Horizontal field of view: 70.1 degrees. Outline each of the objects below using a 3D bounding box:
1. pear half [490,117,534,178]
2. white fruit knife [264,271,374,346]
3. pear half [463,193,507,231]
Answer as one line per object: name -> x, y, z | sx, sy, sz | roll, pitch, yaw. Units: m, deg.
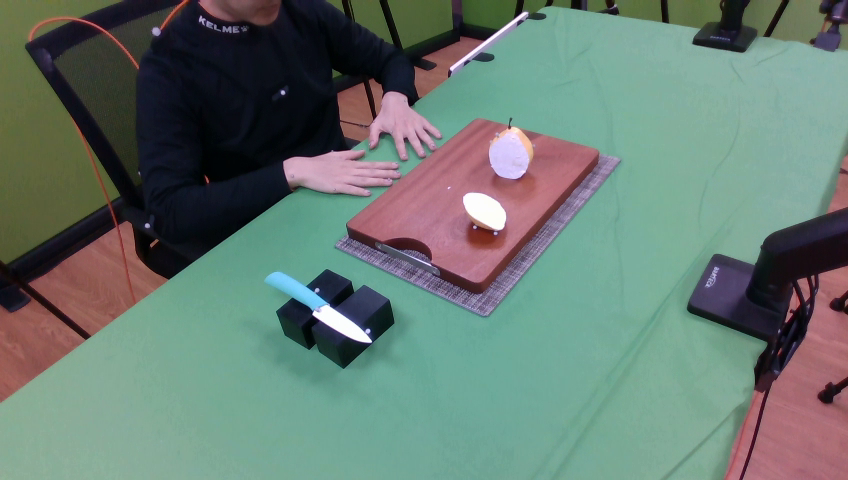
pear half -> 0.152, -0.165, 1.028 | 0.076, 0.110, 0.056 | 11, 44, 15
white fruit knife -> -0.143, 0.091, 0.815 | 0.206, 0.016, 0.027 | 28, 74, 30
pear half -> 0.094, -0.038, 0.947 | 0.071, 0.031, 0.087 | -9, 52, -25
